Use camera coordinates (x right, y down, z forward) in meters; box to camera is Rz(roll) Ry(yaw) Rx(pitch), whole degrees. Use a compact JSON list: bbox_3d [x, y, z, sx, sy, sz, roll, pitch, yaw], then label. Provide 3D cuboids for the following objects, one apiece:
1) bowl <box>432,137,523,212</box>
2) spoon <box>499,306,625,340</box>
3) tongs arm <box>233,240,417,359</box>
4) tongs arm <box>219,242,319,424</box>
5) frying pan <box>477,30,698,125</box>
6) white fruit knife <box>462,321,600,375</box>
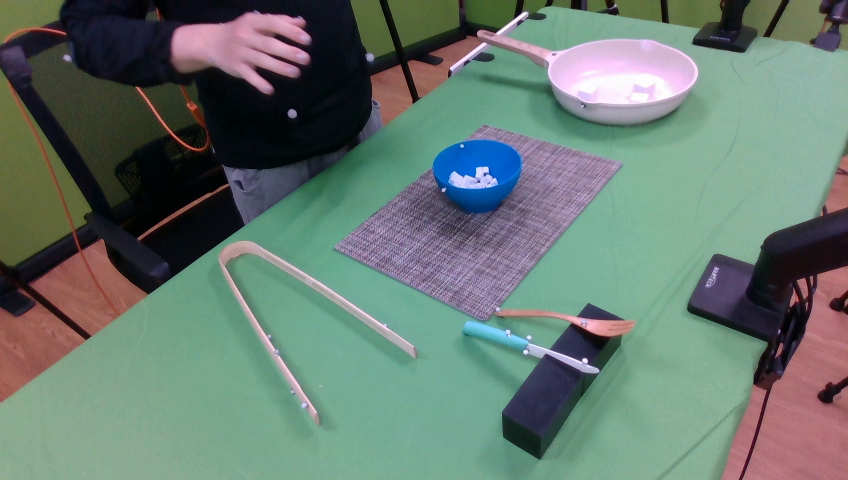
[{"bbox_3d":[0.091,-0.100,1.022,0.151,0.077,0.150,-4,41,4],"label":"bowl"},{"bbox_3d":[0.169,0.101,0.773,0.042,0.021,0.192,-10,13,-38],"label":"spoon"},{"bbox_3d":[-0.157,0.078,0.896,0.384,0.028,0.028,26,53,33],"label":"tongs arm"},{"bbox_3d":[-0.220,0.114,0.856,0.051,0.026,0.381,-28,44,-24],"label":"tongs arm"},{"bbox_3d":[0.321,-0.371,1.290,0.484,0.103,0.308,29,51,24],"label":"frying pan"},{"bbox_3d":[0.126,0.132,0.752,0.205,0.027,0.016,12,47,42],"label":"white fruit knife"}]
